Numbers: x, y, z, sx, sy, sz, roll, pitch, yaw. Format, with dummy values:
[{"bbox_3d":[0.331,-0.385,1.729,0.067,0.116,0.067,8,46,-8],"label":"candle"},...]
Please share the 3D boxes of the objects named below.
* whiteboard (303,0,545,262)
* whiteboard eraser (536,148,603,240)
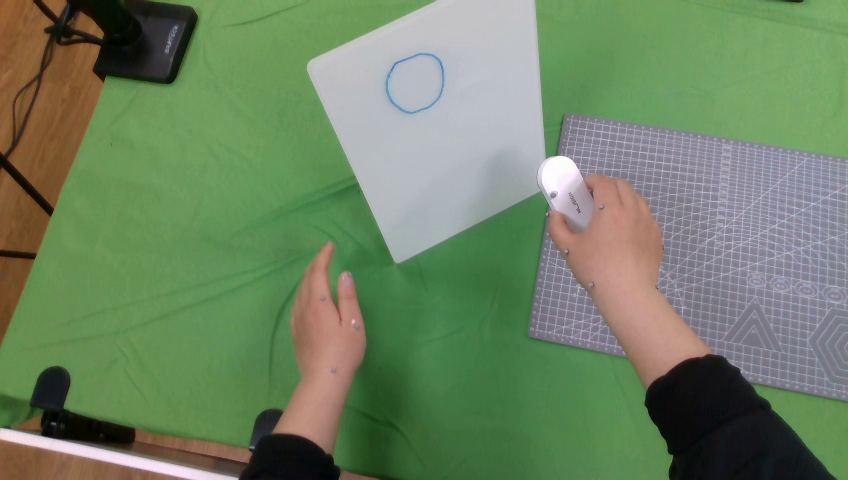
[{"bbox_3d":[0.000,-0.157,0.669,0.217,0.308,0.142,-27,53,-5],"label":"whiteboard"},{"bbox_3d":[0.146,-0.046,0.608,0.041,0.018,0.102,-34,106,-10],"label":"whiteboard eraser"}]
